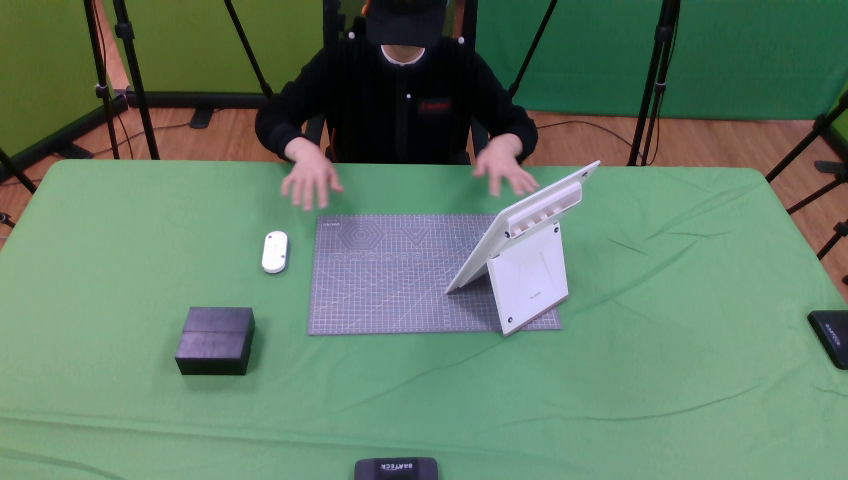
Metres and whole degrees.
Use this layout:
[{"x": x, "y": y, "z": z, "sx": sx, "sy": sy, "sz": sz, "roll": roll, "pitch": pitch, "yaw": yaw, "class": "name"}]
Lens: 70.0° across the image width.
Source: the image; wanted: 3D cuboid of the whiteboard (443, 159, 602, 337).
[{"x": 0.193, "y": 0.036, "z": 1.018, "sx": 0.217, "sy": 0.306, "sz": 0.143, "roll": -26, "pitch": 72, "yaw": -26, "class": "whiteboard"}]

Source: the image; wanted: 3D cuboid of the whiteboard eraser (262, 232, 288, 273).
[{"x": -0.285, "y": 0.023, "z": 1.158, "sx": 0.041, "sy": 0.019, "sz": 0.100, "roll": -1, "pitch": 45, "yaw": -4, "class": "whiteboard eraser"}]
